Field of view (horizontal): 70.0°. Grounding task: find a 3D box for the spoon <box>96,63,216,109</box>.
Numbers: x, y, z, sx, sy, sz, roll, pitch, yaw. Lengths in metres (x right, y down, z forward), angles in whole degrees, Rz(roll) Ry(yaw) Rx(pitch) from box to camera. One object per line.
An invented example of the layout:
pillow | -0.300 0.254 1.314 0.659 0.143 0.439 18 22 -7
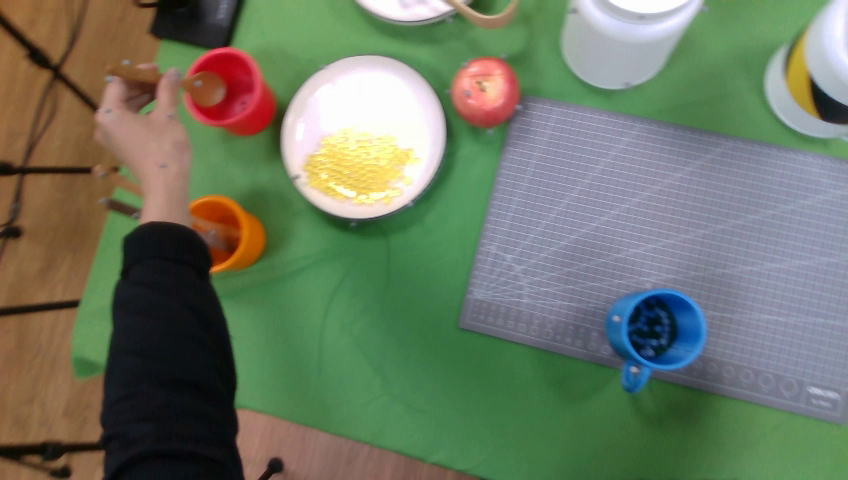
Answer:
spoon | -0.280 -0.170 0.652 0.021 0.193 0.041 19 99 6

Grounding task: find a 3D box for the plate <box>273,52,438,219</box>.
plate | -0.084 -0.129 0.758 0.209 0.038 0.208 -1 85 7

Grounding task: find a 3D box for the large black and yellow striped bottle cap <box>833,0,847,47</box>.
large black and yellow striped bottle cap | 0.434 -0.212 0.546 0.115 0.019 0.115 0 86 6

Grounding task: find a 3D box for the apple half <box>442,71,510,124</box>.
apple half | 0.062 -0.167 0.727 0.081 0.075 0.053 -1 88 3

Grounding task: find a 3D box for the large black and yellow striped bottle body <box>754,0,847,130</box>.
large black and yellow striped bottle body | 0.444 -0.201 0.629 0.130 0.184 0.130 -1 84 7

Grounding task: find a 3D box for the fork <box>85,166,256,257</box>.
fork | -0.294 -0.032 0.717 0.209 0.018 0.028 32 88 -35

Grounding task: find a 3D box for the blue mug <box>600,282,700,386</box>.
blue mug | 0.237 0.105 0.662 0.082 0.106 0.116 21 87 9

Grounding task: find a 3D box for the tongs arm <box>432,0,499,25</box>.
tongs arm | -0.068 -0.379 0.746 0.383 0.026 0.051 42 87 11

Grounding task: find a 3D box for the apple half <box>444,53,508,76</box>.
apple half | 0.061 -0.206 0.729 0.081 0.081 0.033 -2 89 7

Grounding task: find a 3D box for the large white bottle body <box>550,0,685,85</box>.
large white bottle body | 0.210 -0.262 0.662 0.130 0.185 0.130 -1 84 7

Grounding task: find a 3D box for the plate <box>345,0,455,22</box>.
plate | -0.025 -0.375 0.773 0.207 0.039 0.207 -1 85 7

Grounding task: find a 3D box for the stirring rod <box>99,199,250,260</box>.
stirring rod | -0.291 -0.010 0.717 0.178 0.006 0.014 24 75 -32

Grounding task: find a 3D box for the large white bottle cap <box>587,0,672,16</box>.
large white bottle cap | 0.198 -0.272 0.578 0.115 0.018 0.114 -1 84 7

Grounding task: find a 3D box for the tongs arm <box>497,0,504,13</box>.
tongs arm | -0.007 -0.435 0.746 0.028 0.028 0.386 -33 80 -4
